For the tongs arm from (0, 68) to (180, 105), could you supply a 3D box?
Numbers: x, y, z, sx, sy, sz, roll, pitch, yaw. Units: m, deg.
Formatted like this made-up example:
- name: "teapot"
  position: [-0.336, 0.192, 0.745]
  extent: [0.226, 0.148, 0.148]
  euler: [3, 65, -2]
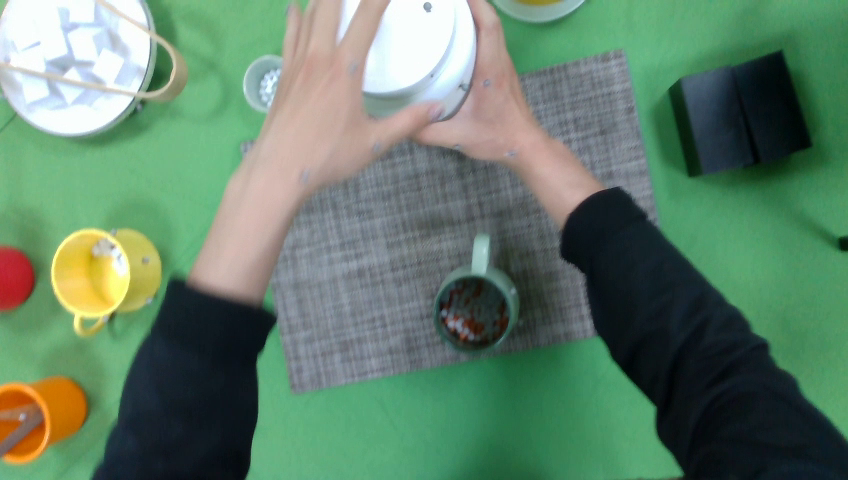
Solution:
- name: "tongs arm"
  position: [-0.467, -0.210, 0.703]
  extent: [0.384, 0.026, 0.051]
  euler: [17, 91, 8]

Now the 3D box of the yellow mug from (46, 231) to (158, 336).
- name: "yellow mug"
  position: [-0.385, 0.054, 0.720]
  extent: [0.100, 0.064, 0.131]
  euler: [21, 95, 6]

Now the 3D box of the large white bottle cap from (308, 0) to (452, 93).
- name: "large white bottle cap"
  position: [-0.036, -0.174, 0.477]
  extent: [0.114, 0.018, 0.115]
  euler: [0, 91, 11]

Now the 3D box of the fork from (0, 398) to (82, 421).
- name: "fork"
  position: [-0.514, 0.203, 0.698]
  extent: [0.209, 0.018, 0.028]
  euler: [5, 88, -36]

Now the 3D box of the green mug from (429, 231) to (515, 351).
- name: "green mug"
  position: [0.052, 0.053, 0.642]
  extent: [0.092, 0.105, 0.125]
  euler: [5, 92, 8]

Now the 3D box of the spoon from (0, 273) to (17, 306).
- name: "spoon"
  position: [-0.547, 0.010, 0.698]
  extent: [0.041, 0.021, 0.196]
  euler: [-17, 134, 6]

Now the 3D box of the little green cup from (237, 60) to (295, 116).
- name: "little green cup"
  position: [-0.180, -0.173, 0.700]
  extent: [0.061, 0.038, 0.061]
  euler: [0, 93, 7]

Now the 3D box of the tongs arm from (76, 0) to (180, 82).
- name: "tongs arm"
  position: [-0.437, -0.288, 0.698]
  extent: [0.386, 0.028, 0.028]
  euler: [31, 89, 7]

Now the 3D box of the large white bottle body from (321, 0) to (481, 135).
- name: "large white bottle body"
  position: [-0.020, -0.175, 0.560]
  extent: [0.130, 0.185, 0.130]
  euler: [0, 90, 11]

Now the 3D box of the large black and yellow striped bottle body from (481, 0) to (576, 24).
- name: "large black and yellow striped bottle body"
  position: [0.106, -0.302, 0.587]
  extent: [0.130, 0.184, 0.130]
  euler: [0, 91, 8]

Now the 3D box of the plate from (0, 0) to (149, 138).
- name: "plate"
  position: [-0.424, -0.225, 0.729]
  extent: [0.207, 0.039, 0.207]
  euler: [0, 92, 7]

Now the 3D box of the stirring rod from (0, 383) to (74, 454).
- name: "stirring rod"
  position: [-0.486, 0.234, 0.702]
  extent: [0.014, 0.006, 0.175]
  euler: [38, 54, 4]
